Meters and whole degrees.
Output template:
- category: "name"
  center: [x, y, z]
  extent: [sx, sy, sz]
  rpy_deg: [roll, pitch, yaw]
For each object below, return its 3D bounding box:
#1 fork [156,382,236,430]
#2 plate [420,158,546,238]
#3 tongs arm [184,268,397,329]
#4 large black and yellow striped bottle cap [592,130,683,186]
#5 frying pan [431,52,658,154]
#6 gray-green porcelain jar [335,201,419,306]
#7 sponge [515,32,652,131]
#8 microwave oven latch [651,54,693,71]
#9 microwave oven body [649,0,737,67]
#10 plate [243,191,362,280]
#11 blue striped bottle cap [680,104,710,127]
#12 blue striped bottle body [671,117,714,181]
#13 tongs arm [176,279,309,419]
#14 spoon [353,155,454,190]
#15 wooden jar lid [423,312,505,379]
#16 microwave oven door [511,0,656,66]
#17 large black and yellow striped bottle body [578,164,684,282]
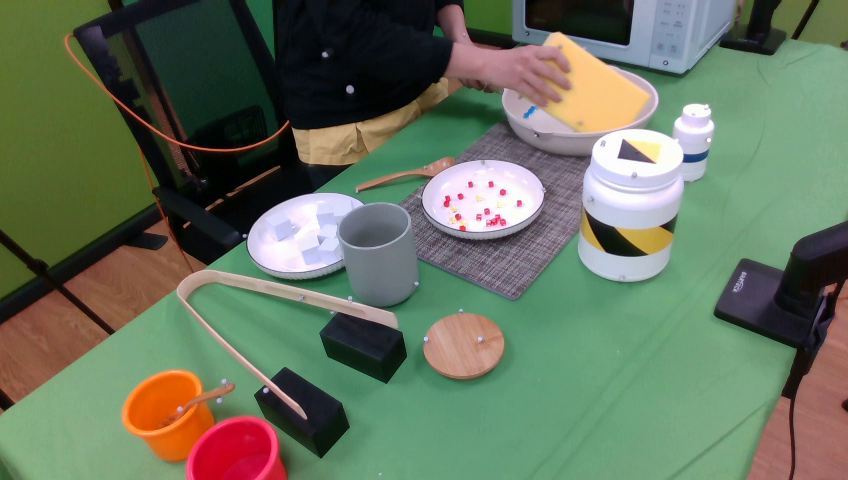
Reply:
- category: "fork"
  center: [-0.262, 0.189, 0.690]
  extent: [0.018, 0.206, 0.028]
  rpy_deg: [49, 43, -7]
- category: "plate"
  center: [0.099, -0.067, 1.017]
  extent: [0.209, 0.038, 0.208]
  rpy_deg: [-4, 40, 4]
- category: "tongs arm"
  center: [-0.202, 0.084, 0.848]
  extent: [0.382, 0.027, 0.051]
  rpy_deg: [11, 45, 35]
- category: "large black and yellow striped bottle cap"
  center: [0.282, -0.111, 0.803]
  extent: [0.115, 0.019, 0.114]
  rpy_deg: [-3, 41, 3]
- category: "frying pan"
  center: [0.216, -0.302, 1.223]
  extent: [0.484, 0.103, 0.308]
  rpy_deg: [29, 49, 24]
- category: "gray-green porcelain jar"
  center: [-0.064, 0.024, 0.872]
  extent: [0.106, 0.127, 0.105]
  rpy_deg: [-4, 41, 4]
- category: "sponge"
  center: [0.286, -0.268, 1.092]
  extent: [0.208, 0.118, 0.060]
  rpy_deg: [29, 13, -11]
- category: "microwave oven latch"
  center: [0.531, -0.386, 1.301]
  extent: [0.078, 0.029, 0.030]
  rpy_deg: [26, 51, 33]
- category: "microwave oven body"
  center: [0.475, -0.602, 1.411]
  extent: [0.438, 0.261, 0.327]
  rpy_deg: [23, 50, 32]
- category: "plate"
  center: [-0.187, -0.005, 0.992]
  extent: [0.207, 0.039, 0.206]
  rpy_deg: [-4, 41, 4]
- category: "blue striped bottle cap"
  center: [0.443, -0.205, 0.989]
  extent: [0.044, 0.021, 0.044]
  rpy_deg: [-1, 41, 2]
- category: "blue striped bottle body"
  center: [0.449, -0.165, 1.022]
  extent: [0.063, 0.121, 0.063]
  rpy_deg: [-5, 41, 4]
- category: "tongs arm"
  center: [-0.254, 0.133, 0.802]
  extent: [0.028, 0.028, 0.384]
  rpy_deg: [-41, 41, -23]
- category: "spoon"
  center: [-0.038, -0.123, 1.116]
  extent: [0.194, 0.022, 0.041]
  rpy_deg: [-12, 58, -4]
- category: "wooden jar lid"
  center: [0.053, 0.142, 0.800]
  extent: [0.108, 0.021, 0.108]
  rpy_deg: [-5, 39, 4]
- category: "microwave oven door"
  center: [0.351, -0.540, 1.349]
  extent: [0.353, 0.245, 0.039]
  rpy_deg: [24, 50, 31]
- category: "large black and yellow striped bottle body"
  center: [0.292, -0.046, 0.859]
  extent: [0.131, 0.185, 0.130]
  rpy_deg: [-4, 41, 4]
